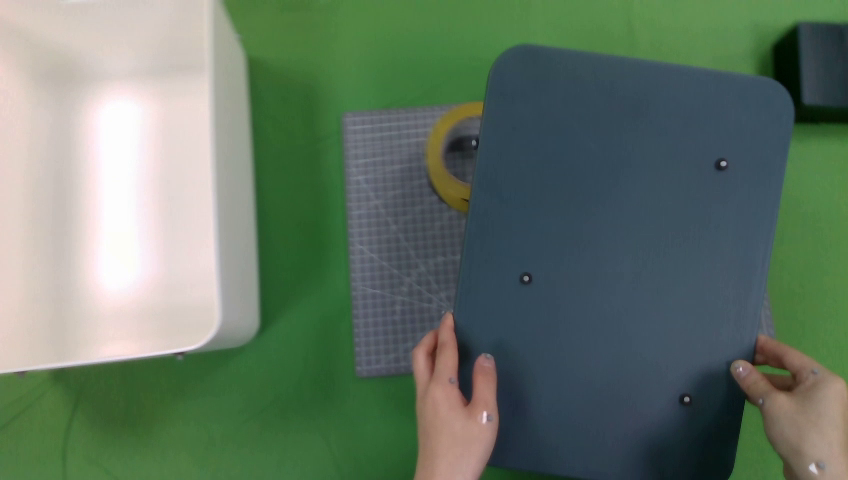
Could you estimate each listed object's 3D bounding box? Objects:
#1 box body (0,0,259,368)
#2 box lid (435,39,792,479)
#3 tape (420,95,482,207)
[{"bbox_3d":[-0.309,-0.064,0.593,0.254,0.161,0.362,-7,80,-2],"label":"box body"},{"bbox_3d":[0.161,0.022,0.528,0.263,0.015,0.371,8,93,1],"label":"box lid"},{"bbox_3d":[0.054,-0.094,0.655,0.117,0.053,0.116,0,80,0],"label":"tape"}]
